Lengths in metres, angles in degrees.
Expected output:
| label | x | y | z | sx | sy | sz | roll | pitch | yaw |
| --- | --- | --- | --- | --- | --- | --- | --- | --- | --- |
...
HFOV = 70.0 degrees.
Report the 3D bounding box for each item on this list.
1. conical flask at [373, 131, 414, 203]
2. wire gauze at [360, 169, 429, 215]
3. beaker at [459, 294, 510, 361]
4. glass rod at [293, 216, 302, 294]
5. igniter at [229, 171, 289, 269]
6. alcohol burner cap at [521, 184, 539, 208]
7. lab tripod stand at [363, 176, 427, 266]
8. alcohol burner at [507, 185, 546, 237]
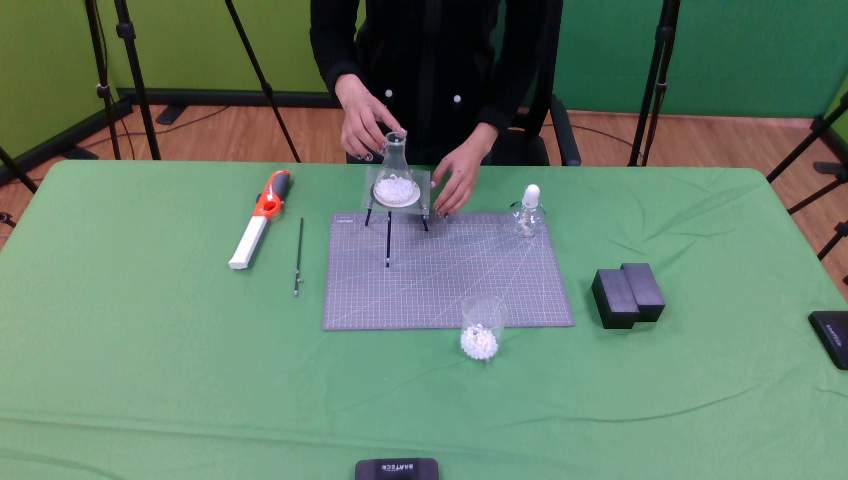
| label | x | y | z | sx | sy | sz | roll | pitch | yaw |
| --- | --- | --- | --- | --- | --- | --- | --- | --- | --- |
| conical flask | -0.053 | -0.131 | 1.067 | 0.075 | 0.122 | 0.075 | 2 | 44 | -2 |
| wire gauze | -0.053 | -0.092 | 1.111 | 0.125 | 0.011 | 0.120 | 3 | 43 | 1 |
| beaker | 0.095 | 0.147 | 1.012 | 0.083 | 0.101 | 0.074 | 26 | 49 | 21 |
| glass rod | -0.242 | 0.024 | 1.166 | 0.008 | 0.008 | 0.198 | -2 | 47 | -5 |
| igniter | -0.328 | -0.049 | 1.218 | 0.057 | 0.025 | 0.275 | 0 | 45 | 11 |
| alcohol burner cap | 0.210 | -0.087 | 1.184 | 0.034 | 0.048 | 0.033 | 0 | 52 | 0 |
| lab tripod stand | -0.058 | -0.047 | 1.159 | 0.148 | 0.132 | 0.147 | 3 | 44 | -2 |
| alcohol burner | 0.208 | -0.063 | 1.210 | 0.078 | 0.119 | 0.077 | 3 | 44 | -3 |
